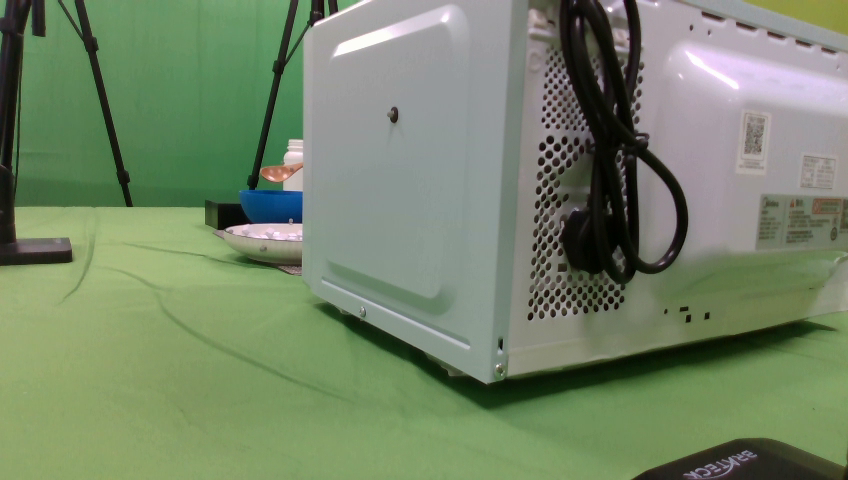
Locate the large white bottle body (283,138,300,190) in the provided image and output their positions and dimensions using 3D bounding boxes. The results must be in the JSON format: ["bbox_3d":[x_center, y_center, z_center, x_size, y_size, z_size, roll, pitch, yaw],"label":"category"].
[{"bbox_3d":[-0.265,-0.144,1.423,0.131,0.184,0.130,2,7,0],"label":"large white bottle body"}]

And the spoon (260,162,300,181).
[{"bbox_3d":[-0.211,-0.144,1.119,0.194,0.021,0.041,-24,50,-28],"label":"spoon"}]

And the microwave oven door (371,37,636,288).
[{"bbox_3d":[0.109,-0.080,0.686,0.358,0.243,0.039,-2,9,-33],"label":"microwave oven door"}]

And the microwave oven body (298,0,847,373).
[{"bbox_3d":[0.151,-0.055,0.542,0.444,0.260,0.324,-2,7,-33],"label":"microwave oven body"}]

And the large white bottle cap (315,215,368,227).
[{"bbox_3d":[-0.178,-0.041,1.309,0.115,0.018,0.115,2,6,0],"label":"large white bottle cap"}]

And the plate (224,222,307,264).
[{"bbox_3d":[-0.171,0.004,0.849,0.209,0.038,0.209,2,7,0],"label":"plate"}]

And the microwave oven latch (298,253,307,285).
[{"bbox_3d":[-0.082,0.027,0.583,0.079,0.029,0.030,-2,7,-33],"label":"microwave oven latch"}]

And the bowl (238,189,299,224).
[{"bbox_3d":[-0.245,-0.046,1.053,0.151,0.077,0.151,3,8,0],"label":"bowl"}]
